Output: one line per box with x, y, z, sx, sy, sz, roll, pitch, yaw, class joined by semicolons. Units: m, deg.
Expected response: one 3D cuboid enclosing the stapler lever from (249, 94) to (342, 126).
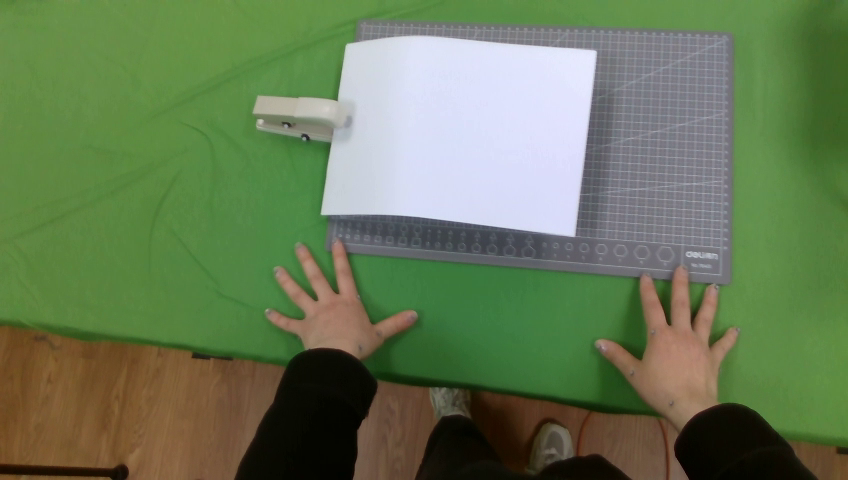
-0.152;-0.154;0.707;0.118;0.040;0.026;10;78;10;stapler lever

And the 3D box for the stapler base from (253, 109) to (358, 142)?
-0.147;-0.149;0.731;0.130;0.024;0.041;10;78;11;stapler base
